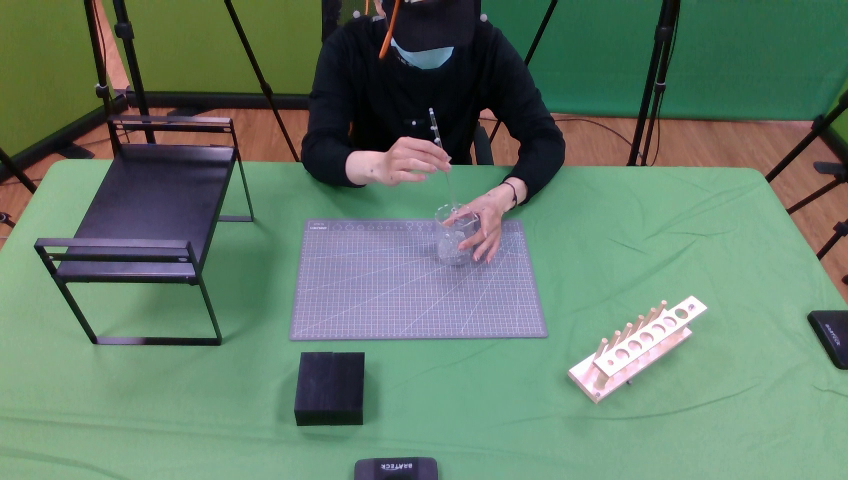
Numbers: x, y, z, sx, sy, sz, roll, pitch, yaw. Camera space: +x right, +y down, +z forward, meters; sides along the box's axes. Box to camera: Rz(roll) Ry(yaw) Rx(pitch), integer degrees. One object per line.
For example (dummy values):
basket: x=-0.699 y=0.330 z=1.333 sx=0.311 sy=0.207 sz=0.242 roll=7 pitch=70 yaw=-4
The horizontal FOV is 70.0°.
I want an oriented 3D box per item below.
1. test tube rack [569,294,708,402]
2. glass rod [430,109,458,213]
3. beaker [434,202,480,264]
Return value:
test tube rack: x=0.360 y=0.167 z=1.015 sx=0.242 sy=0.085 sz=0.066 roll=-25 pitch=53 yaw=-25
glass rod: x=0.036 y=-0.133 z=1.054 sx=0.008 sy=0.201 sz=0.008 roll=-12 pitch=31 yaw=7
beaker: x=0.062 y=-0.011 z=1.146 sx=0.084 sy=0.101 sz=0.073 roll=3 pitch=42 yaw=7
